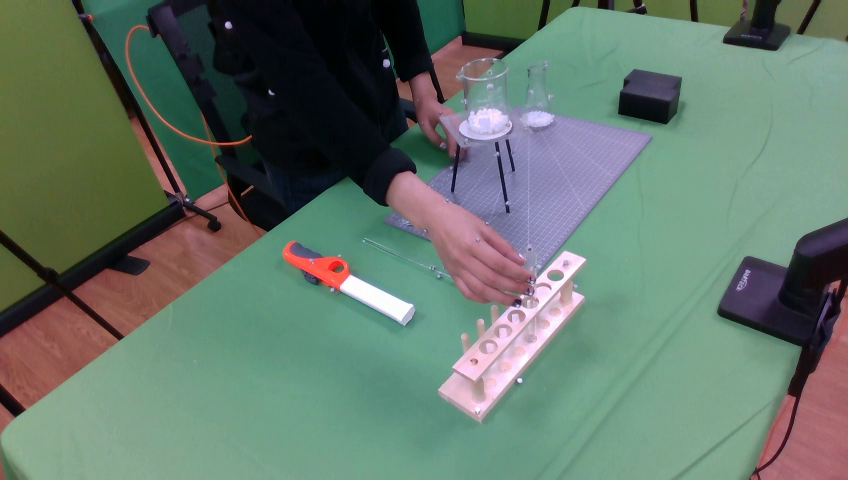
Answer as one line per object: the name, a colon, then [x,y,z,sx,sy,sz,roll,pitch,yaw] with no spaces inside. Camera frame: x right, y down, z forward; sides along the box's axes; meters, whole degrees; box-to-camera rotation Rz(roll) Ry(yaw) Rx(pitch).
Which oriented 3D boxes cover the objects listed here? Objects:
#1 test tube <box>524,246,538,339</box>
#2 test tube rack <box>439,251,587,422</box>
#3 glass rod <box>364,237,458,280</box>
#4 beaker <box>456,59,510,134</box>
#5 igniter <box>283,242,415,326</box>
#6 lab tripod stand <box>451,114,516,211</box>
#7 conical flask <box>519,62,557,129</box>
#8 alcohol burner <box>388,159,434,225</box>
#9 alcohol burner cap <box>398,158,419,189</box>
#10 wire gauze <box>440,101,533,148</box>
test tube: [0.133,0.070,0.750,0.017,0.151,0.017,-5,38,4]
test tube rack: [0.118,0.111,0.780,0.066,0.085,0.243,26,51,35]
glass rod: [-0.026,0.028,0.966,0.198,0.008,0.008,22,50,35]
beaker: [0.098,-0.226,0.964,0.084,0.101,0.073,-7,39,4]
igniter: [-0.126,0.062,0.931,0.274,0.025,0.057,24,61,33]
lab tripod stand: [0.113,-0.140,1.037,0.148,0.132,0.147,-6,38,5]
conical flask: [0.225,-0.288,1.198,0.075,0.122,0.075,-6,40,5]
alcohol burner: [-0.023,-0.085,1.013,0.078,0.119,0.077,-4,39,4]
alcohol burner cap: [-0.027,-0.111,0.989,0.034,0.048,0.033,-4,46,4]
wire gauze: [0.100,-0.189,0.995,0.125,0.011,0.120,-16,37,-6]
